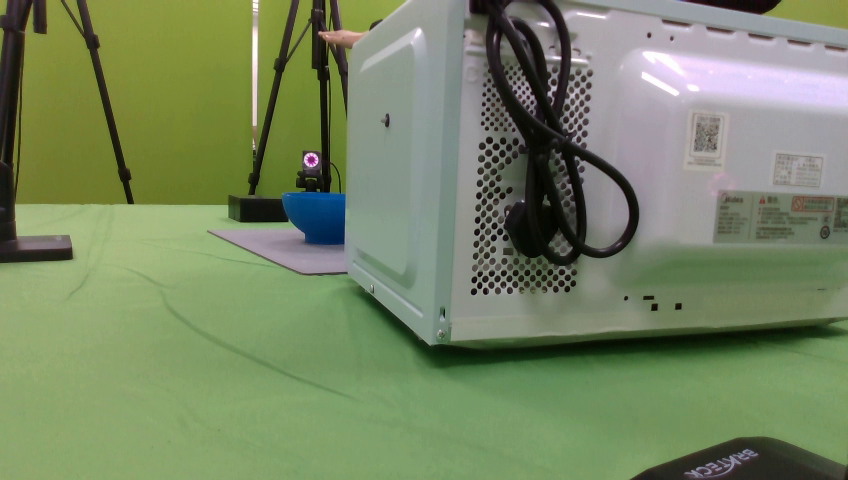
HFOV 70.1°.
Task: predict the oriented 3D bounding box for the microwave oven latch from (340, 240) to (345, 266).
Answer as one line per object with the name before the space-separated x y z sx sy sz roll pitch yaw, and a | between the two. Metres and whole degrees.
microwave oven latch | -0.052 0.016 0.662 0.079 0.029 0.030 1 7 -19

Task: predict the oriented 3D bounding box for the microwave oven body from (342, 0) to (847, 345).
microwave oven body | 0.169 -0.060 0.573 0.444 0.260 0.324 1 7 -20

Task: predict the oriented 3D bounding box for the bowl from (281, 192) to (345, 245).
bowl | -0.158 -0.035 0.991 0.151 0.077 0.151 3 7 0

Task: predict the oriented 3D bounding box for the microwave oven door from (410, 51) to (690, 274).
microwave oven door | 0.161 -0.084 0.723 0.357 0.243 0.039 0 8 -20
